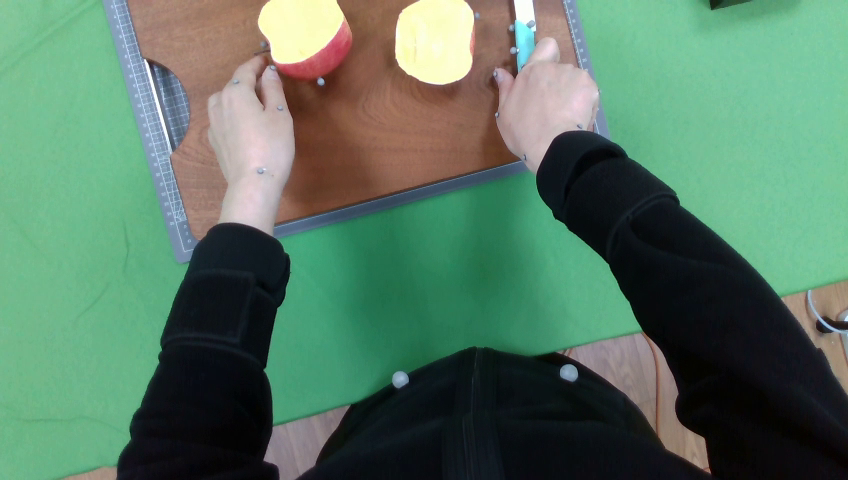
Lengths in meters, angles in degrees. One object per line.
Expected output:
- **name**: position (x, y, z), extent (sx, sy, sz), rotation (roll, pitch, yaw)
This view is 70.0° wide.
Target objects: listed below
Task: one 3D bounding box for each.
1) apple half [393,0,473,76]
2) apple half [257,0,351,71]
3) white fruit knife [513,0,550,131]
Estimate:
- **apple half**: position (0.010, -0.192, 0.562), extent (0.081, 0.032, 0.081), rotation (2, 104, 10)
- **apple half**: position (-0.103, -0.189, 0.547), extent (0.074, 0.054, 0.080), rotation (-33, 68, 1)
- **white fruit knife**: position (0.094, -0.206, 0.572), extent (0.027, 0.016, 0.207), rotation (-9, 92, -29)
